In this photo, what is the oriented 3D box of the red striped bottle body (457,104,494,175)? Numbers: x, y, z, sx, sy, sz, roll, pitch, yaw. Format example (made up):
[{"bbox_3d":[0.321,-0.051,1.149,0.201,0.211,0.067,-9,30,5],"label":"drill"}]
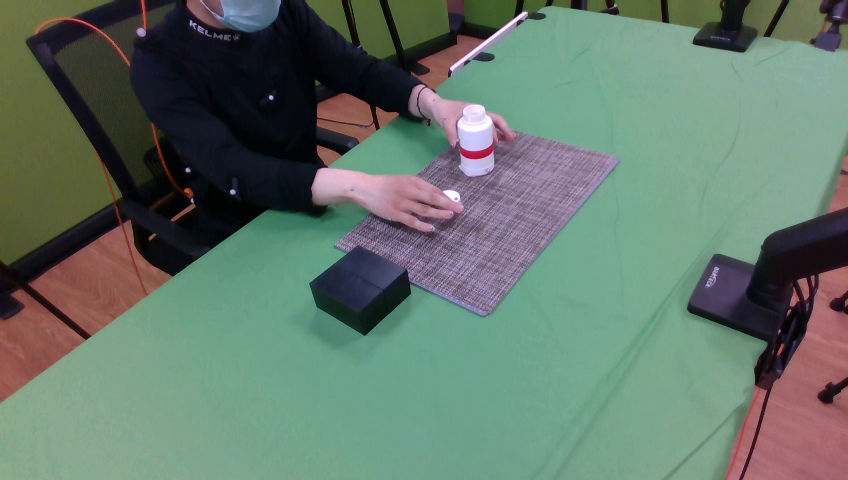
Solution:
[{"bbox_3d":[0.093,-0.181,1.084,0.063,0.120,0.062,-5,41,5],"label":"red striped bottle body"}]

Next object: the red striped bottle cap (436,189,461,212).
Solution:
[{"bbox_3d":[0.042,-0.069,1.040,0.044,0.018,0.044,-4,45,5],"label":"red striped bottle cap"}]
